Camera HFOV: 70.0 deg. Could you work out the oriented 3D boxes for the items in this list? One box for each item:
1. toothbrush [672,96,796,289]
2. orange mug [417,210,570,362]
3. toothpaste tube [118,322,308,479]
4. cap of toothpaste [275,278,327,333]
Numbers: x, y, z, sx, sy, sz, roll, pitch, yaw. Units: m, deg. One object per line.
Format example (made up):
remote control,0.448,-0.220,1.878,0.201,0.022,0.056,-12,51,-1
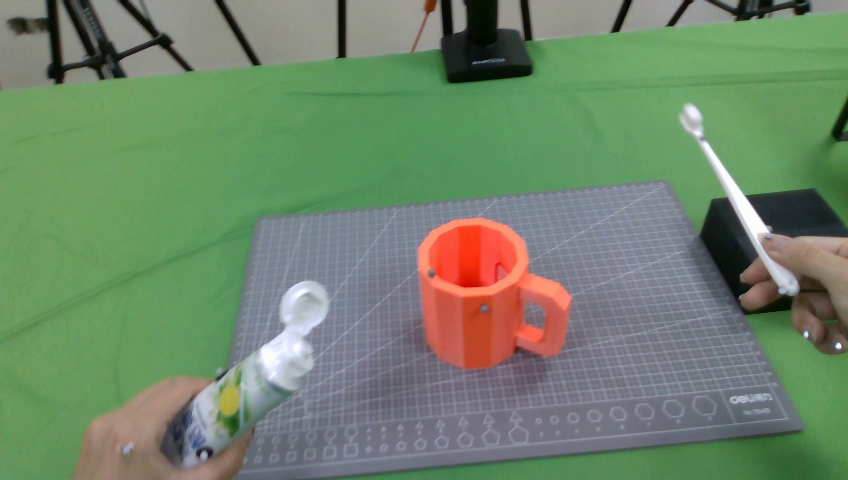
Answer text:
toothbrush,0.223,-0.042,0.444,0.014,0.017,0.180,-11,55,-1
orange mug,0.055,0.043,0.495,0.125,0.102,0.083,16,49,25
toothpaste tube,-0.137,0.110,0.391,0.165,0.035,0.054,-40,58,10
cap of toothpaste,-0.078,0.043,0.393,0.037,0.037,0.011,-35,28,-26
